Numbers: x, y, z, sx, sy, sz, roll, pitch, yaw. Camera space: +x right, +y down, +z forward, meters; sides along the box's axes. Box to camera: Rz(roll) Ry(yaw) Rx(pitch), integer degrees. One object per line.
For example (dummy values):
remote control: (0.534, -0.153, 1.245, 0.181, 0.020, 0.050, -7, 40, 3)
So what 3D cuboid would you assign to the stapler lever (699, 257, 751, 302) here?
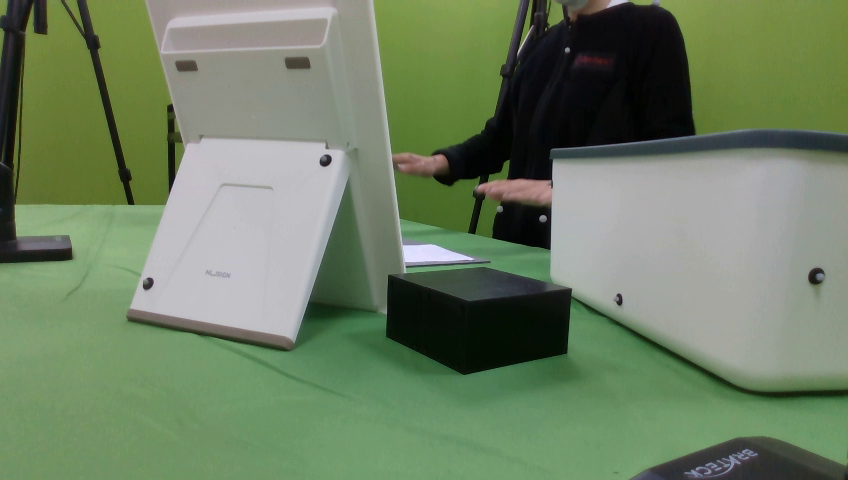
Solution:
stapler lever: (0.291, 0.035, 0.580, 0.026, 0.040, 0.119, 33, 21, 33)

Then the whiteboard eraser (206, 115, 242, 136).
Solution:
whiteboard eraser: (-0.438, -0.249, 1.320, 0.056, 0.042, 0.112, -3, 9, -30)

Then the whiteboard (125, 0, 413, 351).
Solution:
whiteboard: (-0.151, -0.050, 0.471, 0.216, 0.305, 0.144, 6, 27, 24)

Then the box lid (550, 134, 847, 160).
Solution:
box lid: (0.294, -0.071, 0.538, 0.264, 0.015, 0.370, 2, 6, -10)

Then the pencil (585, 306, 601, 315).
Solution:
pencil: (0.250, 0.055, 0.656, 0.195, 0.012, 0.012, -11, 13, -28)

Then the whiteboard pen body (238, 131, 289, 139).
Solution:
whiteboard pen body: (-0.366, -0.240, 1.381, 0.140, 0.017, 0.017, 6, 8, 24)

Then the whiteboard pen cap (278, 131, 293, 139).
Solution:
whiteboard pen cap: (-0.312, -0.236, 1.357, 0.033, 0.018, 0.018, 6, 8, 22)

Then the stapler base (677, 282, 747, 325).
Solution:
stapler base: (0.283, 0.056, 0.584, 0.041, 0.024, 0.131, 33, 19, 33)

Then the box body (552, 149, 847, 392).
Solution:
box body: (0.290, 0.002, 0.549, 0.255, 0.160, 0.363, 2, 7, -10)
